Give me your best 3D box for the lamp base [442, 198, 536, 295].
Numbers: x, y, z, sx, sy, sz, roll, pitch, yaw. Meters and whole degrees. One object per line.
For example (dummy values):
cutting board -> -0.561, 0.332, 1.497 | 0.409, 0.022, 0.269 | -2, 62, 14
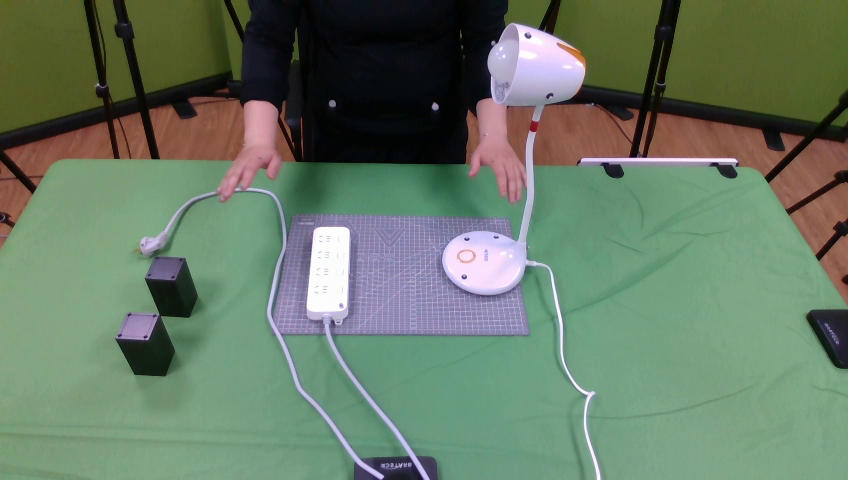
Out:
lamp base -> 0.130, -0.012, 1.105 | 0.179, 0.181, 0.159 | -1, 46, -9

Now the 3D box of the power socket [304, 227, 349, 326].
power socket -> -0.177, 0.059, 1.116 | 0.072, 0.033, 0.225 | -1, 46, -4

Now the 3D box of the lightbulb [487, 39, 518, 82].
lightbulb -> 0.143, -0.251, 0.865 | 0.108, 0.060, 0.059 | 9, 45, -7

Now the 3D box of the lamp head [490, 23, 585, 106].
lamp head -> 0.165, -0.241, 0.872 | 0.123, 0.113, 0.111 | 9, 43, -17

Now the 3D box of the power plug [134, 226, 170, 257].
power plug -> -0.515, 0.006, 1.152 | 0.052, 0.035, 0.072 | -6, 24, 6
